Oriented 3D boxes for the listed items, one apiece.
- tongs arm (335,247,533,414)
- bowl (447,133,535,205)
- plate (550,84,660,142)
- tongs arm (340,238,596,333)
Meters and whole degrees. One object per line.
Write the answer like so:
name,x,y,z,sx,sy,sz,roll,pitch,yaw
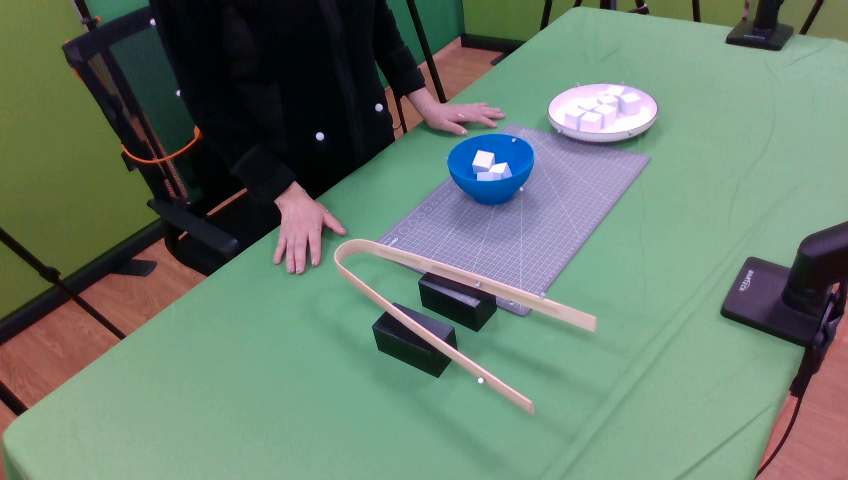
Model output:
tongs arm,-0.007,0.105,0.783,0.028,0.028,0.384,-38,48,-23
bowl,0.119,-0.114,1.051,0.151,0.077,0.150,-5,40,5
plate,0.355,-0.246,1.195,0.207,0.039,0.206,-5,39,5
tongs arm,0.043,0.061,0.826,0.382,0.026,0.051,20,50,30
